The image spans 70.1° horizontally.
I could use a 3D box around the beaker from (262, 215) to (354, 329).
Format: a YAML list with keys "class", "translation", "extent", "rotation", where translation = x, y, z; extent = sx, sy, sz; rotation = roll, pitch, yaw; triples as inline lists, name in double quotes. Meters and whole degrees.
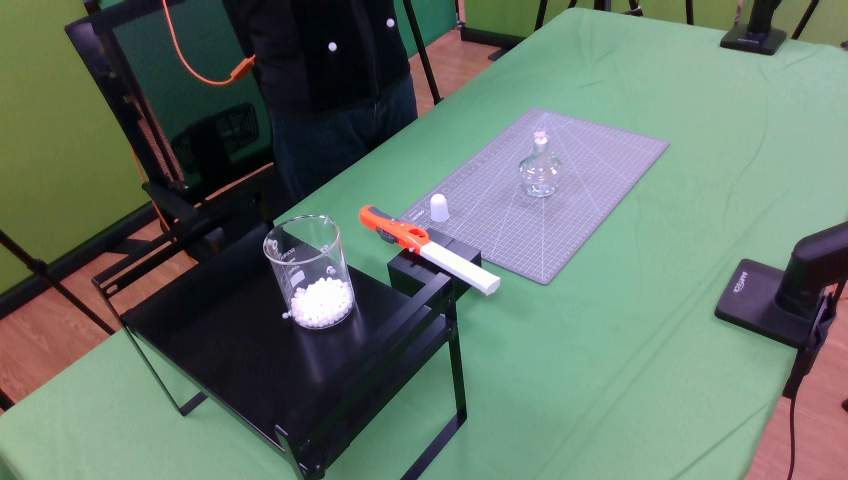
- class: "beaker"
  translation: [-0.112, 0.034, 0.616]
  extent: [0.073, 0.101, 0.084]
  rotation: [13, 44, 23]

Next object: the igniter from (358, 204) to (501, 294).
- class: "igniter"
  translation: [-0.004, 0.006, 0.892]
  extent: [0.274, 0.025, 0.057]
  rotation: [29, 41, 34]

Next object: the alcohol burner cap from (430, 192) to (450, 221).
- class: "alcohol burner cap"
  translation: [0.025, -0.059, 1.020]
  extent: [0.034, 0.048, 0.033]
  rotation: [-4, 41, 4]

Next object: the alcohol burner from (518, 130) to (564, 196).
- class: "alcohol burner"
  translation: [0.199, -0.135, 1.027]
  extent: [0.078, 0.119, 0.077]
  rotation: [-5, 42, 5]
